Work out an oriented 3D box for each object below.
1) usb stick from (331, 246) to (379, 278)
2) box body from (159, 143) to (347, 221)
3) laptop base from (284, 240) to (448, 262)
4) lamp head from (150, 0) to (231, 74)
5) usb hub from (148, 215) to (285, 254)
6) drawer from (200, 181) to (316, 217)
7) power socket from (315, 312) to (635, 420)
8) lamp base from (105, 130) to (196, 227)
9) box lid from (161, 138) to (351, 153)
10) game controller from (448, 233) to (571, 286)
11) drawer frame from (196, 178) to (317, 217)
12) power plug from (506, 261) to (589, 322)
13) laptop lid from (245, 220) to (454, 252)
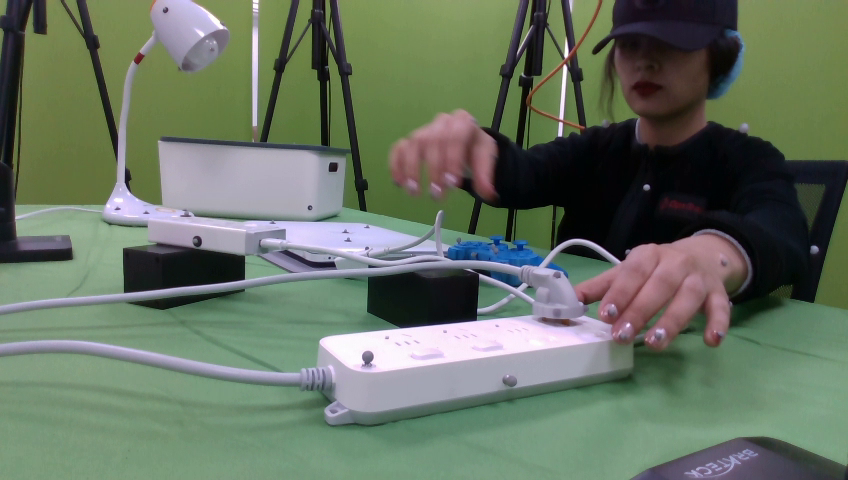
[{"bbox_3d":[-0.084,0.027,0.702,0.059,0.027,0.021,-17,14,26],"label":"usb stick"},{"bbox_3d":[-0.384,-0.137,1.406,0.364,0.160,0.254,3,8,7],"label":"box body"},{"bbox_3d":[-0.125,0.003,0.945,0.237,0.023,0.352,2,6,-31],"label":"laptop base"},{"bbox_3d":[-0.432,-0.374,1.086,0.123,0.112,0.112,42,8,-2],"label":"lamp head"},{"bbox_3d":[-0.196,-0.006,0.573,0.125,0.025,0.050,7,7,23],"label":"usb hub"},{"bbox_3d":[-0.372,-0.097,1.393,0.212,0.073,0.194,1,9,6],"label":"drawer"},{"bbox_3d":[0.039,0.072,0.385,0.228,0.032,0.072,-2,7,-29],"label":"power socket"},{"bbox_3d":[-0.532,-0.120,1.153,0.179,0.180,0.161,1,7,8],"label":"lamp base"},{"bbox_3d":[-0.371,-0.215,1.394,0.371,0.015,0.263,4,8,7],"label":"box lid"},{"bbox_3d":[0.099,0.021,0.755,0.097,0.051,0.154,-8,10,-29],"label":"game controller"},{"bbox_3d":[-0.376,-0.101,1.393,0.213,0.082,0.202,1,8,6],"label":"drawer frame"},{"bbox_3d":[0.091,0.043,0.444,0.035,0.052,0.072,-2,5,-18],"label":"power plug"},{"bbox_3d":[-0.123,-0.009,0.945,0.243,0.013,0.355,1,7,-29],"label":"laptop lid"}]
